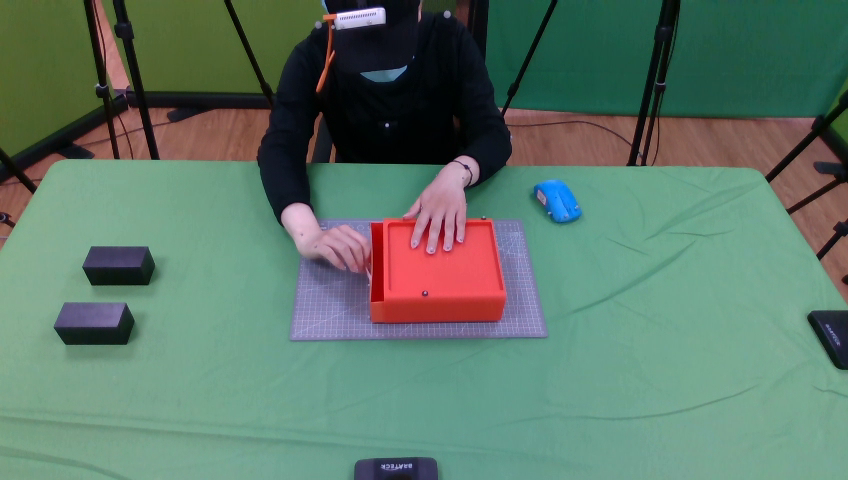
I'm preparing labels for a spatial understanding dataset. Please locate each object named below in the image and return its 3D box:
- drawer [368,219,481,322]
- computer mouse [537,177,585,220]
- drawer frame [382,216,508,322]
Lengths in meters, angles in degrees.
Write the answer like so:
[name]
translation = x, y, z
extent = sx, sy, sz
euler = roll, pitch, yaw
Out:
[drawer]
translation = 0.004, 0.051, 1.101
extent = 0.212, 0.073, 0.193
euler = 0, 46, -5
[computer mouse]
translation = 0.291, -0.093, 1.288
extent = 0.063, 0.041, 0.116
euler = -13, 53, -18
[drawer frame]
translation = 0.029, 0.049, 1.102
extent = 0.214, 0.083, 0.200
euler = 0, 46, -5
